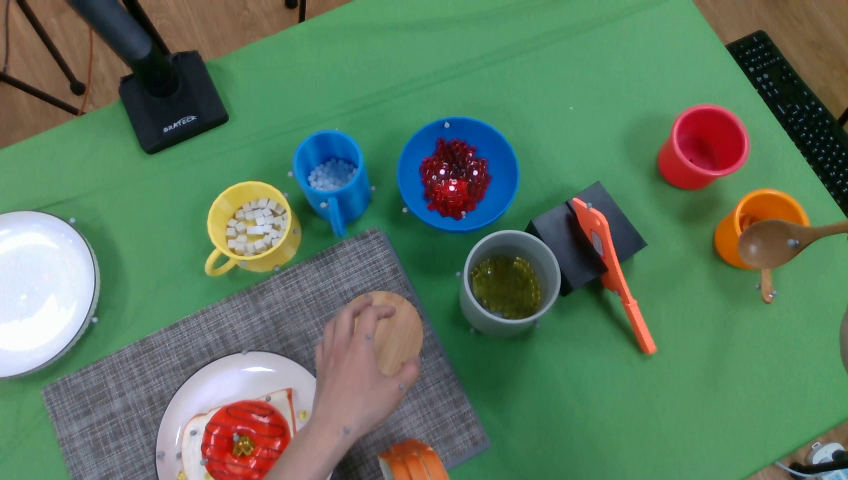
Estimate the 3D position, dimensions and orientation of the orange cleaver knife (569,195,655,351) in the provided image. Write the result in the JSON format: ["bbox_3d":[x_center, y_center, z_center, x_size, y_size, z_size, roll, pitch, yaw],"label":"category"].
[{"bbox_3d":[0.227,0.040,0.736,0.012,0.076,0.212,-29,106,-8],"label":"orange cleaver knife"}]

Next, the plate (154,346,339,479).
[{"bbox_3d":[-0.200,0.228,0.698,0.209,0.038,0.208,0,74,0],"label":"plate"}]

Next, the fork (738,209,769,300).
[{"bbox_3d":[0.389,0.012,0.711,0.028,0.019,0.206,35,33,3],"label":"fork"}]

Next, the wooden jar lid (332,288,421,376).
[{"bbox_3d":[-0.057,0.113,0.742,0.108,0.021,0.108,0,75,-1],"label":"wooden jar lid"}]

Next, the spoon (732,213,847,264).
[{"bbox_3d":[0.294,-0.012,0.430,0.022,0.194,0.041,-3,82,-11],"label":"spoon"}]

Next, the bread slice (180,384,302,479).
[{"bbox_3d":[-0.213,0.234,0.701,0.132,0.019,0.104,-12,74,-8],"label":"bread slice"}]

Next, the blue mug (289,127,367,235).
[{"bbox_3d":[-0.114,-0.064,0.750,0.082,0.106,0.116,-7,74,-2],"label":"blue mug"}]

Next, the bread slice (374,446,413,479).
[{"bbox_3d":[-0.024,0.270,0.644,0.018,0.135,0.106,-18,73,-15],"label":"bread slice"}]

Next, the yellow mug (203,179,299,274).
[{"bbox_3d":[-0.223,-0.007,0.753,0.099,0.064,0.130,40,79,10],"label":"yellow mug"}]

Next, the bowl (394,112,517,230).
[{"bbox_3d":[0.038,-0.076,0.769,0.151,0.077,0.150,0,75,0],"label":"bowl"}]

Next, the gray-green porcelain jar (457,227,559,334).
[{"bbox_3d":[0.092,0.053,0.709,0.106,0.127,0.105,0,74,-1],"label":"gray-green porcelain jar"}]

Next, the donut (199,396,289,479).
[{"bbox_3d":[-0.198,0.223,0.670,0.099,0.048,0.098,1,75,-4],"label":"donut"}]

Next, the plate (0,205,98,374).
[{"bbox_3d":[-0.502,0.060,0.745,0.208,0.039,0.206,0,75,-1],"label":"plate"}]
